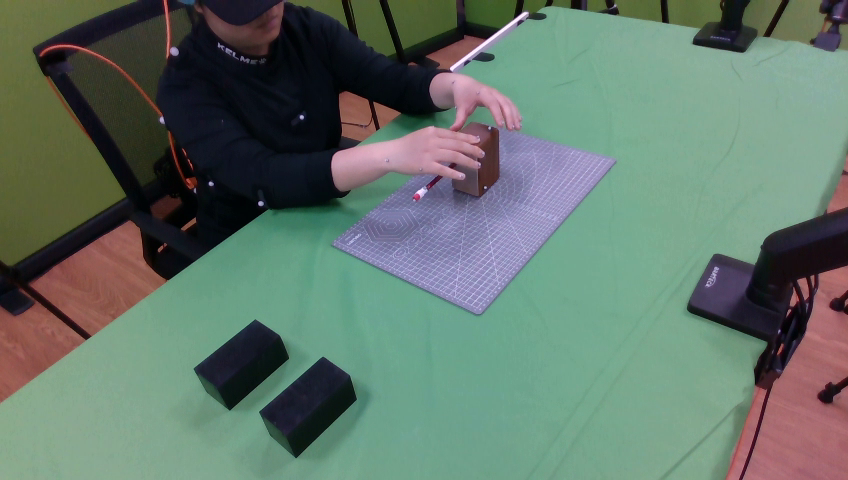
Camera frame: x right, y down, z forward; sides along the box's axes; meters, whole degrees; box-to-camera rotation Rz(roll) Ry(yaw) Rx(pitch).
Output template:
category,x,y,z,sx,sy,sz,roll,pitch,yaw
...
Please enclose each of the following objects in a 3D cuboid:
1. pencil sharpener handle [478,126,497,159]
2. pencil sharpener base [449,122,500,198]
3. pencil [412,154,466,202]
category,x,y,z,sx,sy,sz,roll,pitch,yaw
pencil sharpener handle,0.118,-0.179,1.075,0.035,0.068,0.031,22,48,27
pencil sharpener base,0.090,-0.140,1.052,0.061,0.107,0.077,21,47,29
pencil,0.041,-0.115,0.986,0.012,0.012,0.194,21,46,30
